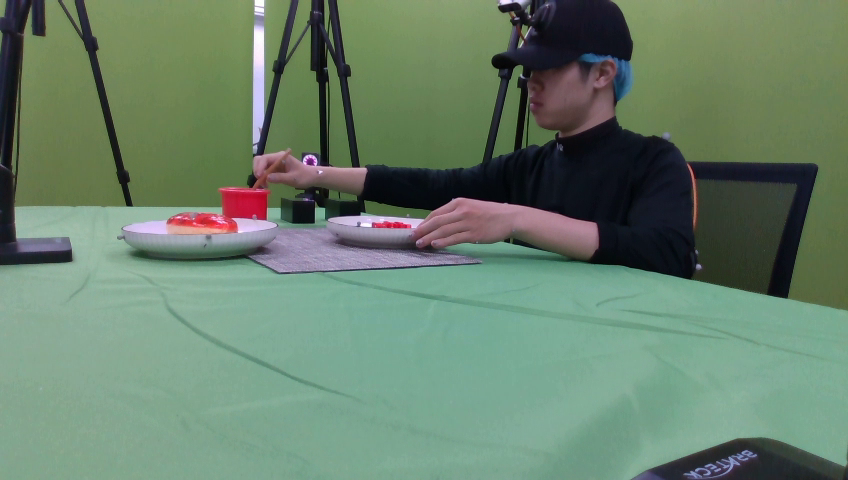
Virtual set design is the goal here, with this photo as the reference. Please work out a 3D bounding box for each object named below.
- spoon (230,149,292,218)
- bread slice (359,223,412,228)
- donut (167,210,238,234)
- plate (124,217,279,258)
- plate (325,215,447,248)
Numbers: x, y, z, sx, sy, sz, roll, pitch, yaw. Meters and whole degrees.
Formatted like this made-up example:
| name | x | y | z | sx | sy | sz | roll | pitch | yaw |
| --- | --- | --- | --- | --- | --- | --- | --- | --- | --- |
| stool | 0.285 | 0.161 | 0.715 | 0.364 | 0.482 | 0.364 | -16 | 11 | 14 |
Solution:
| name | x | y | z | sx | sy | sz | roll | pitch | yaw |
| --- | --- | --- | --- | --- | --- | --- | --- | --- | --- |
| spoon | -0.326 | -0.108 | 1.192 | 0.022 | 0.193 | 0.041 | 38 | -5 | -16 |
| bread slice | -0.062 | -0.013 | 1.034 | 0.105 | 0.019 | 0.131 | 1 | 9 | -19 |
| donut | -0.321 | -0.017 | 0.882 | 0.099 | 0.048 | 0.099 | 3 | 6 | 0 |
| plate | -0.315 | -0.004 | 0.871 | 0.208 | 0.039 | 0.207 | 1 | 8 | 0 |
| plate | -0.065 | -0.015 | 1.035 | 0.209 | 0.038 | 0.209 | 3 | 8 | 0 |
